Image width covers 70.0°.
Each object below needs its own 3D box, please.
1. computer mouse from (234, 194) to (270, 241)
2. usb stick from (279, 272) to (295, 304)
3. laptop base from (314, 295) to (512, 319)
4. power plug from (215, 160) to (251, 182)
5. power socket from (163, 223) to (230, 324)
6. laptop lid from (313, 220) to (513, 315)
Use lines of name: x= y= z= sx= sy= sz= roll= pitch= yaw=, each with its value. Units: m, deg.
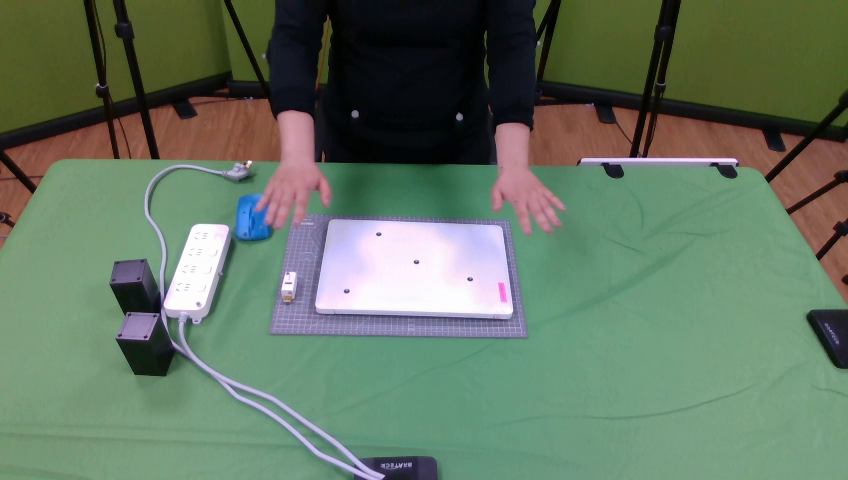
computer mouse: x=-0.341 y=-0.049 z=1.208 sx=0.063 sy=0.041 sz=0.116 roll=0 pitch=50 yaw=-8
usb stick: x=-0.246 y=0.088 z=1.085 sx=0.021 sy=0.027 sz=0.059 roll=5 pitch=47 yaw=-5
laptop base: x=-0.018 y=0.055 z=1.144 sx=0.354 sy=0.023 sz=0.234 roll=2 pitch=42 yaw=-2
power plug: x=-0.409 y=-0.155 z=1.303 sx=0.072 sy=0.035 sz=0.052 roll=23 pitch=65 yaw=3
power socket: x=-0.411 y=0.052 z=1.106 sx=0.072 sy=0.033 sz=0.225 roll=3 pitch=46 yaw=-3
laptop lid: x=-0.017 y=0.045 z=1.138 sx=0.357 sy=0.013 sz=0.240 roll=3 pitch=43 yaw=-1
